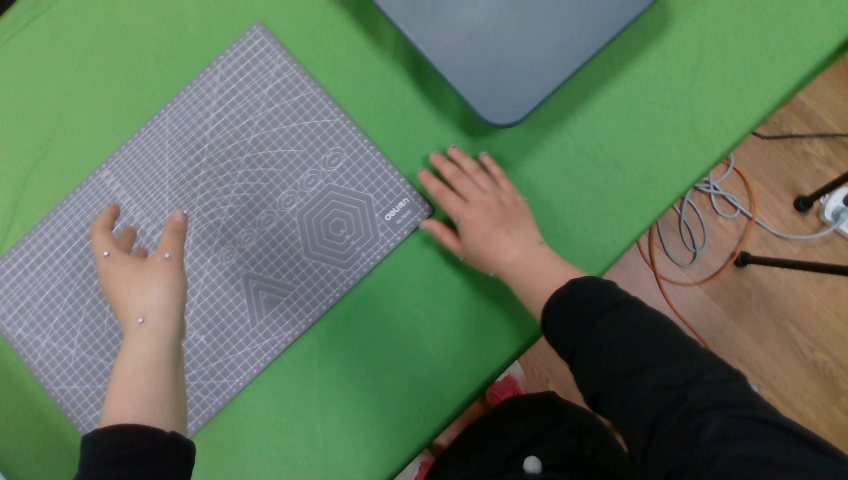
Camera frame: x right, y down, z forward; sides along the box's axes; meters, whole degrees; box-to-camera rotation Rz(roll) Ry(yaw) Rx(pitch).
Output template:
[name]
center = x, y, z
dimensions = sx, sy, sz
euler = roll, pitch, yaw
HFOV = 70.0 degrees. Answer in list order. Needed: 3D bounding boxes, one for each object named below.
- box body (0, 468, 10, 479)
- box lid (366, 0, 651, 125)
[box body]
center = -0.573, 0.305, 0.593
dimensions = 0.363, 0.161, 0.254
euler = 44, 89, 7
[box lid]
center = 0.049, -0.327, 0.634
dimensions = 0.263, 0.015, 0.370
euler = -43, 84, -1
